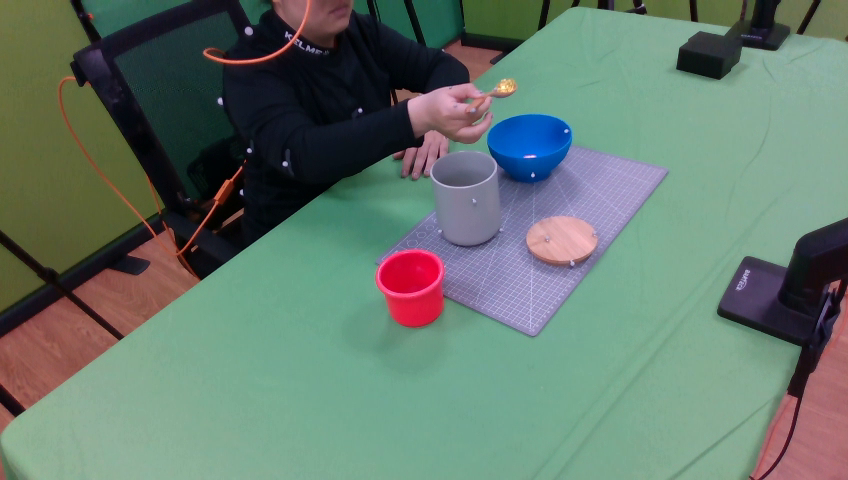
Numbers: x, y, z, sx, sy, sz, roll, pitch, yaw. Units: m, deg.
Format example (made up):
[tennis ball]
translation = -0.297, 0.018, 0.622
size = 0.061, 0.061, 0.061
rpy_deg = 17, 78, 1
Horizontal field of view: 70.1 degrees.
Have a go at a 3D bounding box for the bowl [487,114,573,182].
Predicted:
[bowl]
translation = 0.190, -0.156, 1.085
size = 0.151, 0.077, 0.150
rpy_deg = -5, 40, 5

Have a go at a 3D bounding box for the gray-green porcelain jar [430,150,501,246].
[gray-green porcelain jar]
translation = 0.069, -0.062, 0.959
size = 0.106, 0.127, 0.105
rpy_deg = -5, 40, 5

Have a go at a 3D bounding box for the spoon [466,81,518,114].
[spoon]
translation = 0.103, -0.225, 0.946
size = 0.041, 0.022, 0.194
rpy_deg = 7, 24, 26

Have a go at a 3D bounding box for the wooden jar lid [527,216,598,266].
[wooden jar lid]
translation = 0.214, 0.003, 0.937
size = 0.108, 0.021, 0.108
rpy_deg = -4, 40, 4
